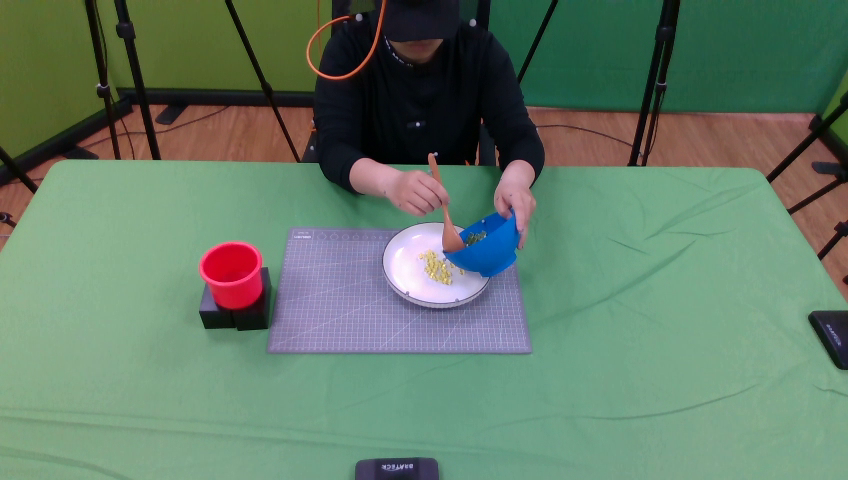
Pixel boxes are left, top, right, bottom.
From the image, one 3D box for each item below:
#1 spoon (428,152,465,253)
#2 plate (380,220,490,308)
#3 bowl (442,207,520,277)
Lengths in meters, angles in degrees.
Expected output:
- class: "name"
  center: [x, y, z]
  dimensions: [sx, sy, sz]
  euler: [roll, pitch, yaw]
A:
- class: "spoon"
  center: [0.034, -0.060, 1.061]
  dimensions: [0.041, 0.194, 0.021]
  euler: [-9, 11, 26]
- class: "plate"
  center: [0.022, 0.048, 1.138]
  dimensions: [0.208, 0.039, 0.206]
  euler: [2, 46, -2]
- class: "bowl"
  center: [0.115, 0.014, 1.080]
  dimensions: [0.151, 0.151, 0.077]
  euler: [-40, 103, -33]
